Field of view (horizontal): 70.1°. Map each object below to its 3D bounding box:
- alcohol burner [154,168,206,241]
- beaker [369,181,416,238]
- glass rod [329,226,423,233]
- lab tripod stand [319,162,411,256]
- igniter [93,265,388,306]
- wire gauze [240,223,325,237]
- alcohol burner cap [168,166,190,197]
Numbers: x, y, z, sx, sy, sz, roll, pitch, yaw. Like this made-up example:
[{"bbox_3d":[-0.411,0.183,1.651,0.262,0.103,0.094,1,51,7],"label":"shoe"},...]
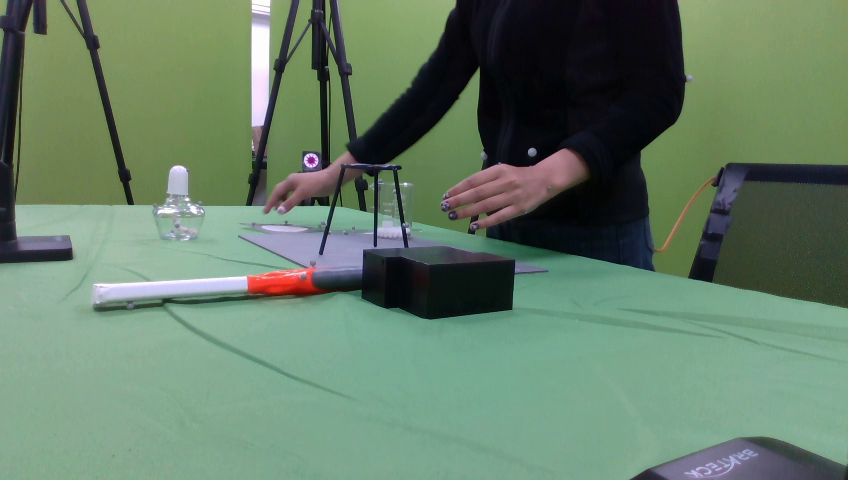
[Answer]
[{"bbox_3d":[-0.393,-0.059,0.974,0.078,0.119,0.078,1,8,0],"label":"alcohol burner"},{"bbox_3d":[-0.057,-0.056,1.090,0.084,0.100,0.074,2,7,0],"label":"beaker"},{"bbox_3d":[-0.087,-0.020,1.148,0.201,0.008,0.008,-3,9,-32],"label":"glass rod"},{"bbox_3d":[-0.081,-0.047,0.879,0.148,0.131,0.148,2,9,0],"label":"lab tripod stand"},{"bbox_3d":[-0.164,0.042,0.589,0.278,0.025,0.057,-2,-6,-31],"label":"igniter"},{"bbox_3d":[-0.267,-0.024,1.155,0.124,0.011,0.122,11,12,40],"label":"wire gauze"},{"bbox_3d":[-0.392,-0.095,0.970,0.034,0.048,0.034,7,7,-1],"label":"alcohol burner cap"}]
